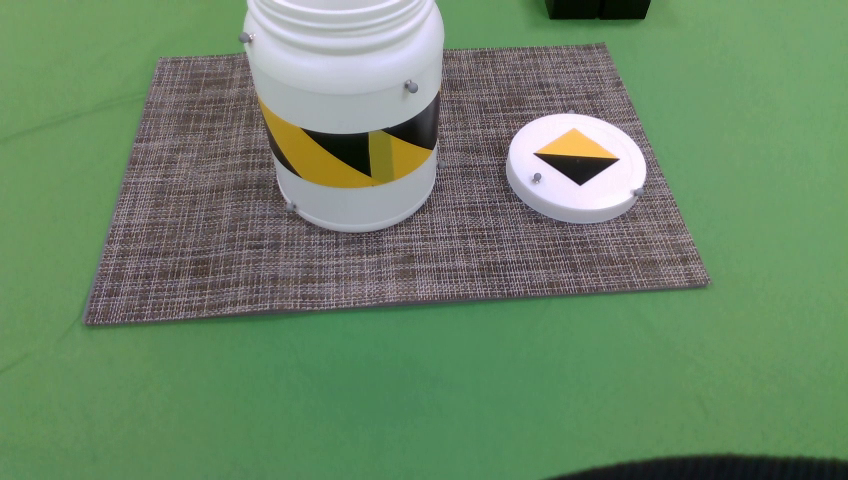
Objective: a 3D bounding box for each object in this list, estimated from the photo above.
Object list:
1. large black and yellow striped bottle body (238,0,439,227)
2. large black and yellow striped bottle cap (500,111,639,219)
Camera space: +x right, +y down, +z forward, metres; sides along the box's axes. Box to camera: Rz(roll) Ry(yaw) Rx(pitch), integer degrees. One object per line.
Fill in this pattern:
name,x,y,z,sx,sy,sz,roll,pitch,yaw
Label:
large black and yellow striped bottle body,-0.056,-0.112,0.431,0.131,0.185,0.129,1,53,-2
large black and yellow striped bottle cap,0.123,-0.066,0.511,0.115,0.019,0.114,2,52,-2
